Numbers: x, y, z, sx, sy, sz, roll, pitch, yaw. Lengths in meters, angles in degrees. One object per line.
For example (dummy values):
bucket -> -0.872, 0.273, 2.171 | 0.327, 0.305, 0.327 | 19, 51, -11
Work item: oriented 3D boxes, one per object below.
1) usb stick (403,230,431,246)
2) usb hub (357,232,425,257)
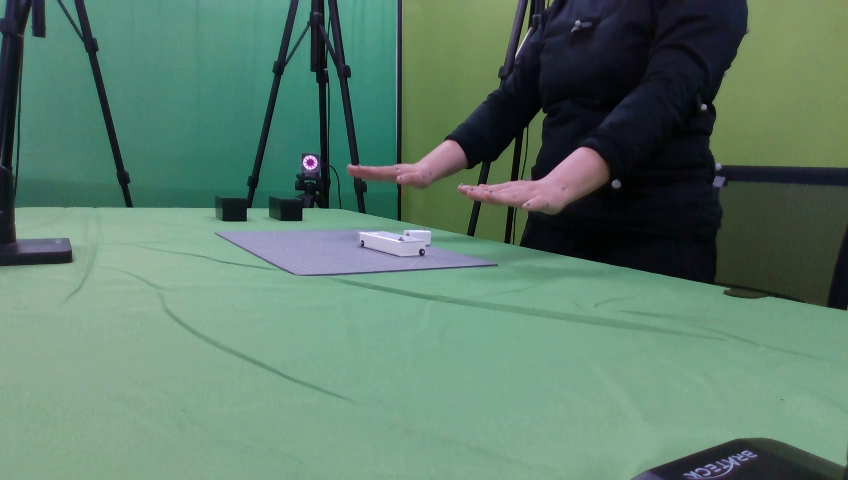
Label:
usb stick -> -0.019, -0.003, 1.020 | 0.059, 0.027, 0.021 | -6, 15, -35
usb hub -> -0.055, 0.005, 0.947 | 0.050, 0.025, 0.124 | -3, 9, -36
